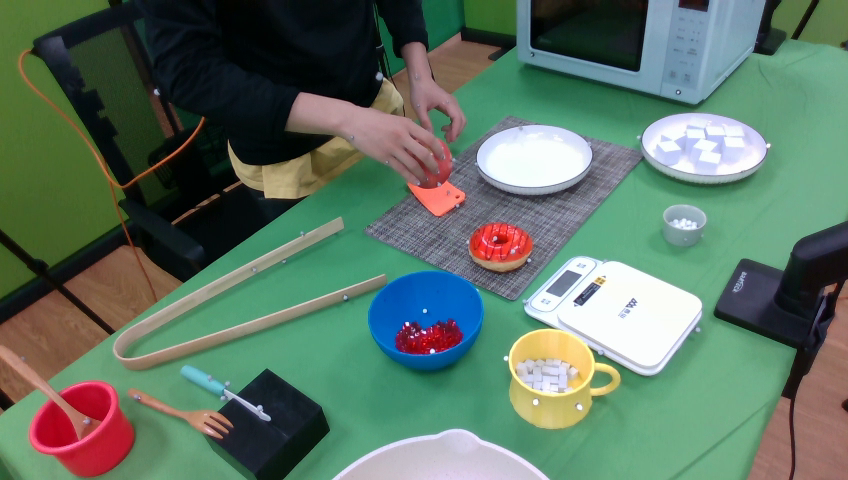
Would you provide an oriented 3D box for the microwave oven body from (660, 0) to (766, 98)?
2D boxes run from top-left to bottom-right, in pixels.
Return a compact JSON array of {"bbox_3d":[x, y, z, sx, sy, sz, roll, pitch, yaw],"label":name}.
[{"bbox_3d":[0.472,-0.513,1.317,0.438,0.261,0.327,26,51,34],"label":"microwave oven body"}]

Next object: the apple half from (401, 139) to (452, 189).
[{"bbox_3d":[0.008,-0.114,0.967,0.081,0.075,0.053,-16,50,-7],"label":"apple half"}]

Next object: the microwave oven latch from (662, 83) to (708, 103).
[{"bbox_3d":[0.517,-0.296,1.204,0.078,0.029,0.030,27,52,35],"label":"microwave oven latch"}]

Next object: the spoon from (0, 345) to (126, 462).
[{"bbox_3d":[-0.434,0.192,0.720,0.194,0.021,0.042,47,53,-7],"label":"spoon"}]

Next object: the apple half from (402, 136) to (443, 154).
[{"bbox_3d":[-0.002,-0.141,0.990,0.081,0.081,0.032,-15,49,-8],"label":"apple half"}]

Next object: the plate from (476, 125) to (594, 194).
[{"bbox_3d":[0.199,-0.141,1.093,0.209,0.038,0.208,-4,40,4],"label":"plate"}]

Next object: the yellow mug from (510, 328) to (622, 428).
[{"bbox_3d":[0.169,0.164,0.722,0.130,0.064,0.099,0,41,8],"label":"yellow mug"}]

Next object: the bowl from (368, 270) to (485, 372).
[{"bbox_3d":[0.007,0.118,0.791,0.151,0.077,0.150,-4,40,4],"label":"bowl"}]

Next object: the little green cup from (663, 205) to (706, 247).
[{"bbox_3d":[0.396,-0.020,0.926,0.061,0.039,0.061,-4,40,4],"label":"little green cup"}]

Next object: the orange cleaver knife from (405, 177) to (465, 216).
[{"bbox_3d":[0.005,-0.114,1.102,0.077,0.012,0.209,-24,46,-8],"label":"orange cleaver knife"}]

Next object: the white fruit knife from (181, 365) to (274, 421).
[{"bbox_3d":[-0.246,0.187,0.747,0.205,0.027,0.016,9,41,40],"label":"white fruit knife"}]

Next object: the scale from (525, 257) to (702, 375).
[{"bbox_3d":[0.254,0.091,0.821,0.199,0.032,0.149,28,51,35],"label":"scale"}]

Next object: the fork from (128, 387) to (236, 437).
[{"bbox_3d":[-0.305,0.207,0.744,0.206,0.019,0.028,3,41,36],"label":"fork"}]

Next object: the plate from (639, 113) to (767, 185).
[{"bbox_3d":[0.489,-0.157,1.074,0.207,0.039,0.206,-4,40,4],"label":"plate"}]

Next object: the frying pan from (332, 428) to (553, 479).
[{"bbox_3d":[-0.089,0.306,0.564,0.487,0.103,0.306,10,41,7],"label":"frying pan"}]

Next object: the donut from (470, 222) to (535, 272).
[{"bbox_3d":[0.119,0.009,0.923,0.099,0.048,0.098,-4,38,3],"label":"donut"}]

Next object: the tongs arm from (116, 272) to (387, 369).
[{"bbox_3d":[-0.236,0.113,0.868,0.389,0.028,0.028,-18,48,-13],"label":"tongs arm"}]

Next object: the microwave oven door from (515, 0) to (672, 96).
[{"bbox_3d":[0.343,-0.454,1.259,0.353,0.245,0.039,26,51,33],"label":"microwave oven door"}]

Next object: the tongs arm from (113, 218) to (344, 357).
[{"bbox_3d":[-0.280,0.067,0.926,0.386,0.026,0.050,-28,48,-23],"label":"tongs arm"}]
